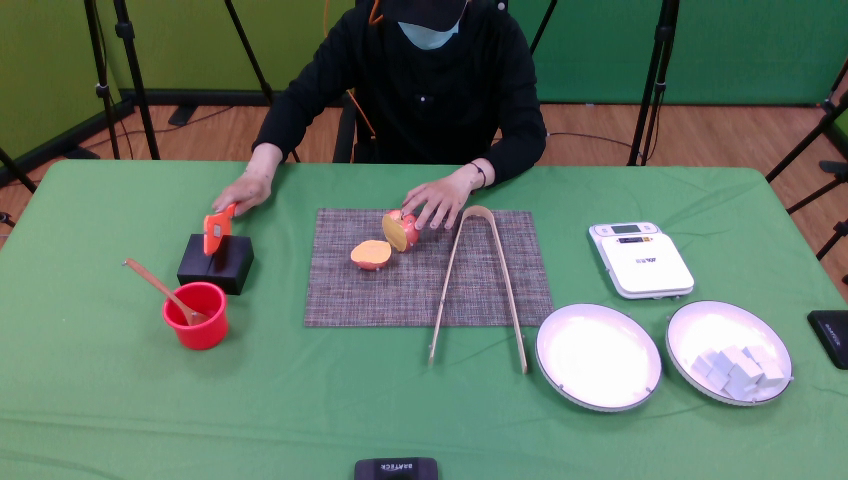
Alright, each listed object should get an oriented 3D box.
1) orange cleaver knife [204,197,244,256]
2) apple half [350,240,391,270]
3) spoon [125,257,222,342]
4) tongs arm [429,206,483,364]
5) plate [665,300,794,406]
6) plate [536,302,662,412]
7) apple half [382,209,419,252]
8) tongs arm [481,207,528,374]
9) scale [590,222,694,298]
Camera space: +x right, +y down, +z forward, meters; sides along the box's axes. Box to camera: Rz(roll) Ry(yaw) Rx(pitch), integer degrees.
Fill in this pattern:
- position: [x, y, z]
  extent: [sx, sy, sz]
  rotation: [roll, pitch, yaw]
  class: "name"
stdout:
- position: [-0.376, -0.030, 1.142]
  extent: [0.012, 0.077, 0.210]
  rotation: [2, 19, 1]
  class: "orange cleaver knife"
- position: [-0.097, 0.033, 1.146]
  extent: [0.081, 0.033, 0.081]
  rotation: [-4, 33, 3]
  class: "apple half"
- position: [-0.408, 0.096, 0.990]
  extent: [0.194, 0.021, 0.041]
  rotation: [50, 53, -18]
  class: "spoon"
- position: [0.064, 0.069, 1.124]
  extent: [0.051, 0.026, 0.382]
  rotation: [8, 46, 5]
  class: "tongs arm"
- position: [0.513, 0.194, 1.034]
  extent: [0.208, 0.039, 0.206]
  rotation: [2, 46, -2]
  class: "plate"
- position: [0.288, 0.197, 1.016]
  extent: [0.209, 0.038, 0.208]
  rotation: [2, 46, -2]
  class: "plate"
- position: [-0.039, -0.022, 1.175]
  extent: [0.053, 0.075, 0.080]
  rotation: [-27, 50, -31]
  class: "apple half"
- position: [0.149, 0.077, 1.124]
  extent: [0.028, 0.028, 0.385]
  rotation: [-5, 46, -2]
  class: "tongs arm"
- position: [0.424, 0.031, 1.189]
  extent: [0.149, 0.032, 0.199]
  rotation: [-3, 46, -7]
  class: "scale"
